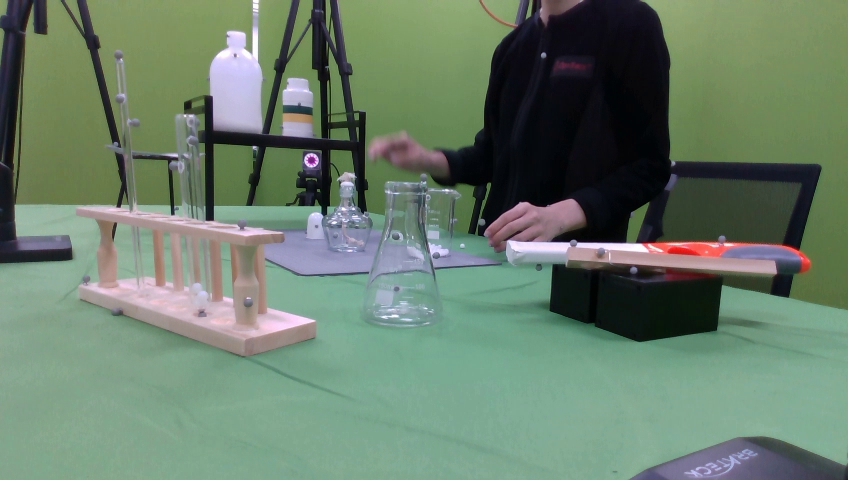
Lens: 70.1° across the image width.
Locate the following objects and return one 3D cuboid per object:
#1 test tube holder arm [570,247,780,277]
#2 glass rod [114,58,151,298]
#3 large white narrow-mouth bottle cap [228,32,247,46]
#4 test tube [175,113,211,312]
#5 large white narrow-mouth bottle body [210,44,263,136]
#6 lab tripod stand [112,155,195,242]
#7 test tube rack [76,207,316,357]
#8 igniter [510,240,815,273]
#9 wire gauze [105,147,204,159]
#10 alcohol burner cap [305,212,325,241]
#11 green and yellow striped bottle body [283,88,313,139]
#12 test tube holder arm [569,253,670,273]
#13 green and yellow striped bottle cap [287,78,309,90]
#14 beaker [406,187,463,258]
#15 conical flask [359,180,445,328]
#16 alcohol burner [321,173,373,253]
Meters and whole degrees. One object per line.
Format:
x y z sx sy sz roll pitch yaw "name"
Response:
0.217 0.019 0.525 0.178 0.015 0.013 3 -23 3 "test tube holder arm"
-0.236 -0.044 0.492 0.008 0.199 0.008 0 15 0 "glass rod"
-0.364 -0.391 1.181 0.038 0.024 0.037 3 8 0 "large white narrow-mouth bottle cap"
-0.174 -0.020 0.458 0.017 0.150 0.017 -3 5 1 "test tube"
-0.369 -0.306 1.194 0.102 0.194 0.102 3 8 0 "large white narrow-mouth bottle body"
-0.405 -0.064 0.931 0.148 0.131 0.148 1 6 0 "lab tripod stand"
-0.196 0.023 0.500 0.241 0.085 0.067 8 9 36 "test tube rack"
0.220 0.015 0.565 0.277 0.025 0.057 2 16 0 "igniter"
-0.407 -0.131 0.928 0.125 0.011 0.121 2 6 -11 "wire gauze"
-0.185 -0.023 1.027 0.034 0.048 0.034 2 7 0 "alcohol burner cap"
-0.266 -0.275 1.275 0.063 0.119 0.063 3 7 0 "green and yellow striped bottle body"
0.172 0.019 0.532 0.088 0.015 0.010 3 -23 3 "test tube holder arm"
-0.265 -0.326 1.268 0.045 0.020 0.045 4 6 0 "green and yellow striped bottle cap"
0.013 -0.026 0.892 0.084 0.100 0.074 3 8 -2 "beaker"
-0.017 0.010 0.522 0.075 0.122 0.075 2 7 0 "conical flask"
-0.115 -0.041 0.905 0.078 0.119 0.078 0 6 0 "alcohol burner"
